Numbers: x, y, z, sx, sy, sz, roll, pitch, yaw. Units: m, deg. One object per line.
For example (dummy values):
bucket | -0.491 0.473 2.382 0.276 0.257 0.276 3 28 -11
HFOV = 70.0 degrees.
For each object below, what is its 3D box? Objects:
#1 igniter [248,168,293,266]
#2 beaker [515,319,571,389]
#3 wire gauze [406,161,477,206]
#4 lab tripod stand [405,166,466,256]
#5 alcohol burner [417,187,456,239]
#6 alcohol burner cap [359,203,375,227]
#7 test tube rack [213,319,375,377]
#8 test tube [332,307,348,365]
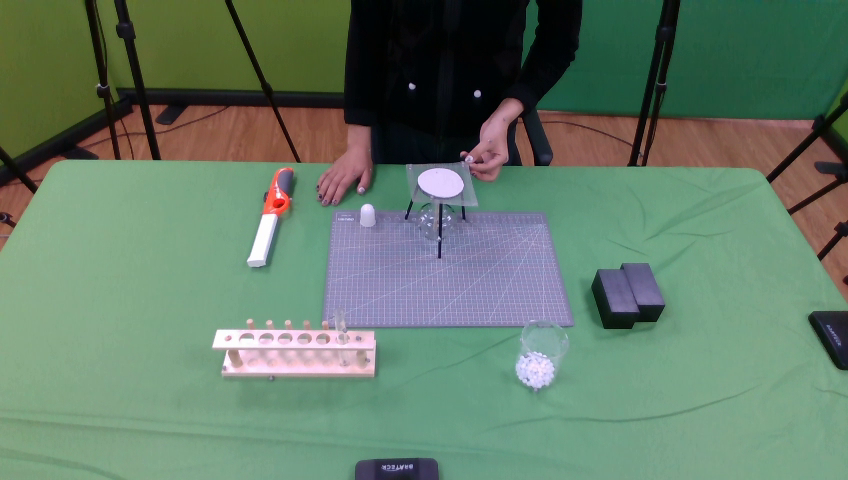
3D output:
igniter | -0.307 -0.055 1.225 0.057 0.025 0.275 -3 45 6
beaker | 0.186 0.186 0.980 0.074 0.101 0.083 -23 51 -24
wire gauze | 0.032 -0.108 1.129 0.125 0.011 0.120 1 45 -8
lab tripod stand | 0.030 -0.063 1.180 0.148 0.132 0.147 3 47 -3
alcohol burner | 0.025 -0.059 1.189 0.078 0.120 0.077 1 48 -1
alcohol burner cap | -0.115 -0.053 1.224 0.034 0.048 0.033 3 47 -3
test tube rack | -0.202 0.170 0.977 0.242 0.085 0.066 1 46 -3
test tube | -0.128 0.151 0.931 0.017 0.151 0.017 1 50 -2
